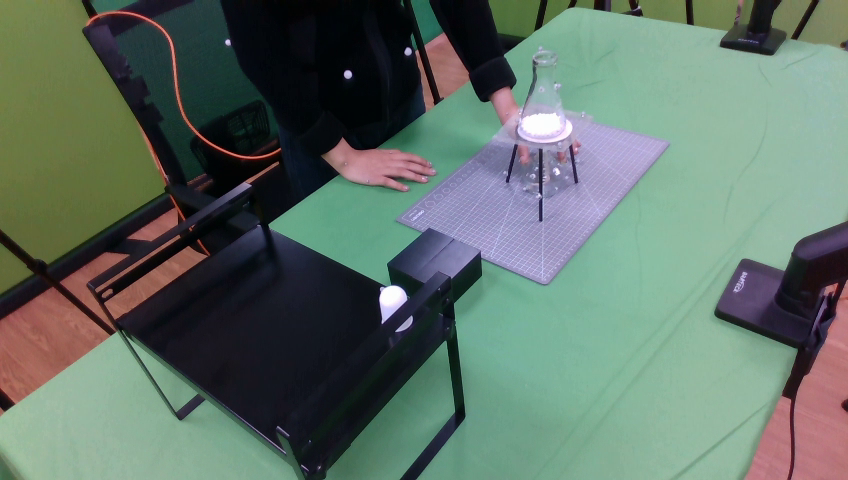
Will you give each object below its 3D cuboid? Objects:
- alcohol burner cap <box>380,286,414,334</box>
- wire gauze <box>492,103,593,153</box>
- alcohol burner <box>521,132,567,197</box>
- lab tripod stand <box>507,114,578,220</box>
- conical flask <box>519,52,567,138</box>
[{"bbox_3d":[-0.029,0.068,0.605,0.034,0.048,0.033,-5,40,4],"label":"alcohol burner cap"},{"bbox_3d":[0.191,-0.179,0.965,0.120,0.011,0.125,17,49,29],"label":"wire gauze"},{"bbox_3d":[0.204,-0.132,1.026,0.078,0.119,0.077,-5,42,5],"label":"alcohol burner"},{"bbox_3d":[0.198,-0.127,1.005,0.148,0.132,0.147,-3,42,3],"label":"lab tripod stand"},{"bbox_3d":[0.183,-0.223,0.926,0.075,0.122,0.075,-4,41,4],"label":"conical flask"}]
